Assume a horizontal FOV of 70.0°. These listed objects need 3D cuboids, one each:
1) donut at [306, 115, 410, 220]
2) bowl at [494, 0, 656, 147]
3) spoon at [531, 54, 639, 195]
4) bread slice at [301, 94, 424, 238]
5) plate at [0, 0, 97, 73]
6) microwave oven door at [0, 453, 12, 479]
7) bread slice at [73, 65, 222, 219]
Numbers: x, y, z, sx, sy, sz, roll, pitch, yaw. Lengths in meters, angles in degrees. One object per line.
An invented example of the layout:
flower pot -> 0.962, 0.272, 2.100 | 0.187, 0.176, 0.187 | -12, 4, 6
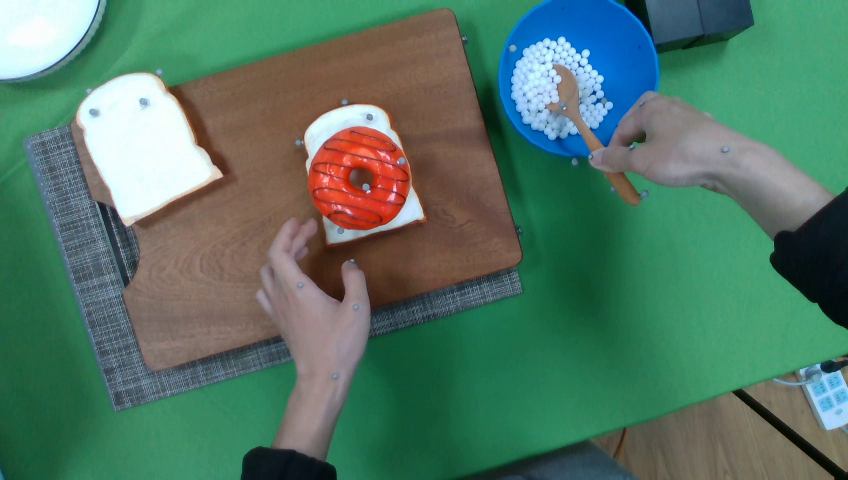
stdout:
donut -> -0.062, -0.067, 0.571 | 0.099, 0.048, 0.099 | 0, 95, -2
bowl -> 0.140, -0.163, 0.597 | 0.151, 0.076, 0.151 | 0, 94, -1
spoon -> 0.145, -0.109, 0.553 | 0.041, 0.191, 0.022 | -33, 138, 17
bread slice -> -0.068, -0.076, 0.600 | 0.105, 0.019, 0.131 | -17, 95, -1
plate -> -0.421, -0.268, 0.601 | 0.208, 0.039, 0.207 | 0, 94, -1
microwave oven door -> -0.487, 0.141, 0.506 | 0.039, 0.243, 0.356 | -19, 93, 1
bread slice -> -0.278, -0.100, 0.594 | 0.107, 0.018, 0.134 | -31, 93, 0
